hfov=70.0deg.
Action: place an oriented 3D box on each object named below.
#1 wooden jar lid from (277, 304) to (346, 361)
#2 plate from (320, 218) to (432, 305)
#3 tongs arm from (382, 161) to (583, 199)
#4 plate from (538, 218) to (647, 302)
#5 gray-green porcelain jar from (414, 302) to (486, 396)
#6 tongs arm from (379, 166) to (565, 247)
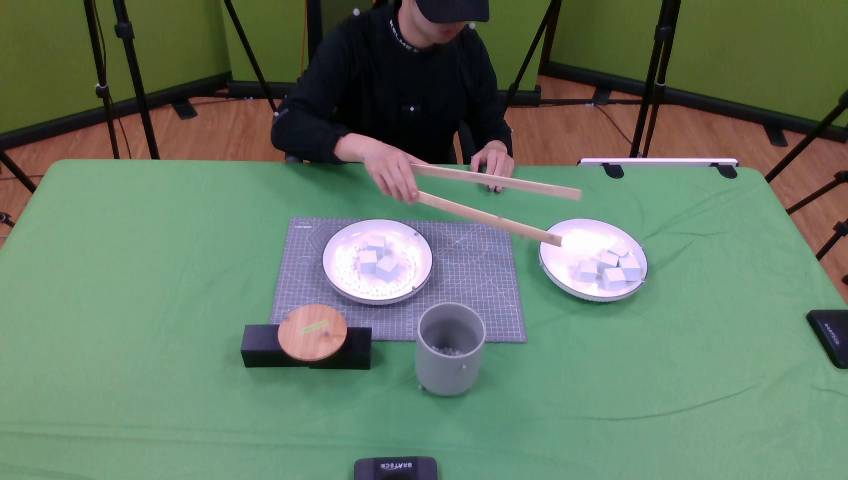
[{"bbox_3d":[-0.179,0.150,0.972,0.108,0.021,0.107,2,45,-2],"label":"wooden jar lid"},{"bbox_3d":[-0.089,0.044,1.134,0.209,0.038,0.208,3,46,-2],"label":"plate"},{"bbox_3d":[0.107,-0.114,1.161,0.387,0.028,0.028,10,51,12],"label":"tongs arm"},{"bbox_3d":[0.322,0.042,1.171,0.208,0.039,0.206,2,46,-2],"label":"plate"},{"bbox_3d":[0.038,0.177,0.958,0.106,0.127,0.105,2,46,-2],"label":"gray-green porcelain jar"},{"bbox_3d":[0.078,-0.066,1.113,0.383,0.027,0.050,18,50,20],"label":"tongs arm"}]
